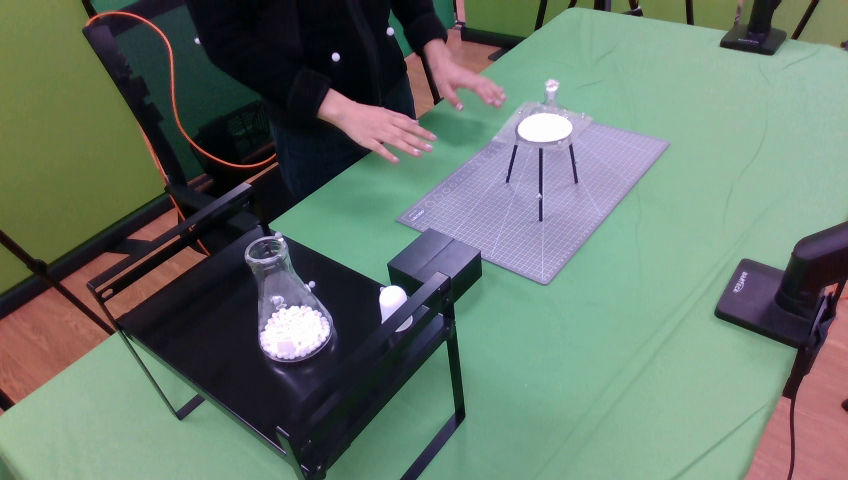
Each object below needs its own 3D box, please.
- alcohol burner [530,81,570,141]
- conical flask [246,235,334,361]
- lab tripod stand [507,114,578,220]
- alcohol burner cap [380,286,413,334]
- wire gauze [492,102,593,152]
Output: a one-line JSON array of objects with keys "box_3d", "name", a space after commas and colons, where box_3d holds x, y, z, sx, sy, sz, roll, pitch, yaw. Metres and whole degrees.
[{"box_3d": [0.241, -0.251, 1.159, 0.078, 0.119, 0.077, -3, 42, 4], "name": "alcohol burner"}, {"box_3d": [-0.134, 0.053, 0.576, 0.075, 0.122, 0.075, -5, 40, 4], "name": "conical flask"}, {"box_3d": [0.198, -0.128, 1.005, 0.148, 0.132, 0.147, -3, 42, 3], "name": "lab tripod stand"}, {"box_3d": [-0.029, 0.068, 0.605, 0.034, 0.048, 0.033, -5, 40, 4], "name": "alcohol burner cap"}, {"box_3d": [0.190, -0.180, 0.964, 0.120, 0.011, 0.125, 19, 47, 27], "name": "wire gauze"}]
